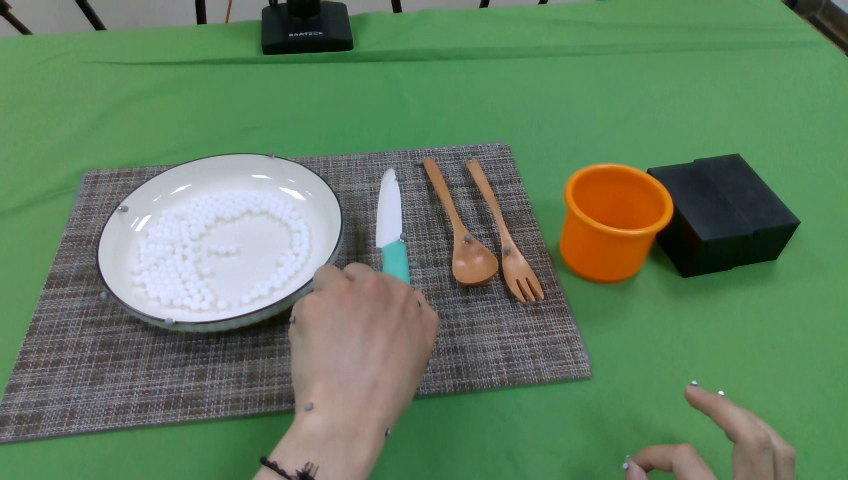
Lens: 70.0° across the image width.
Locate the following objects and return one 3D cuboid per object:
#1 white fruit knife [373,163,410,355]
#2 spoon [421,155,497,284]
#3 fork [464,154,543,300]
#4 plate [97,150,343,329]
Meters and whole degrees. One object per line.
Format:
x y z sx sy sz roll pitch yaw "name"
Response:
-0.027 0.003 0.491 0.027 0.016 0.205 -1 48 -4 "white fruit knife"
0.026 -0.028 0.586 0.041 0.022 0.191 -22 49 3 "spoon"
0.070 -0.020 0.583 0.028 0.019 0.205 -12 50 -5 "fork"
-0.176 -0.003 0.544 0.209 0.038 0.207 1 47 -1 "plate"
